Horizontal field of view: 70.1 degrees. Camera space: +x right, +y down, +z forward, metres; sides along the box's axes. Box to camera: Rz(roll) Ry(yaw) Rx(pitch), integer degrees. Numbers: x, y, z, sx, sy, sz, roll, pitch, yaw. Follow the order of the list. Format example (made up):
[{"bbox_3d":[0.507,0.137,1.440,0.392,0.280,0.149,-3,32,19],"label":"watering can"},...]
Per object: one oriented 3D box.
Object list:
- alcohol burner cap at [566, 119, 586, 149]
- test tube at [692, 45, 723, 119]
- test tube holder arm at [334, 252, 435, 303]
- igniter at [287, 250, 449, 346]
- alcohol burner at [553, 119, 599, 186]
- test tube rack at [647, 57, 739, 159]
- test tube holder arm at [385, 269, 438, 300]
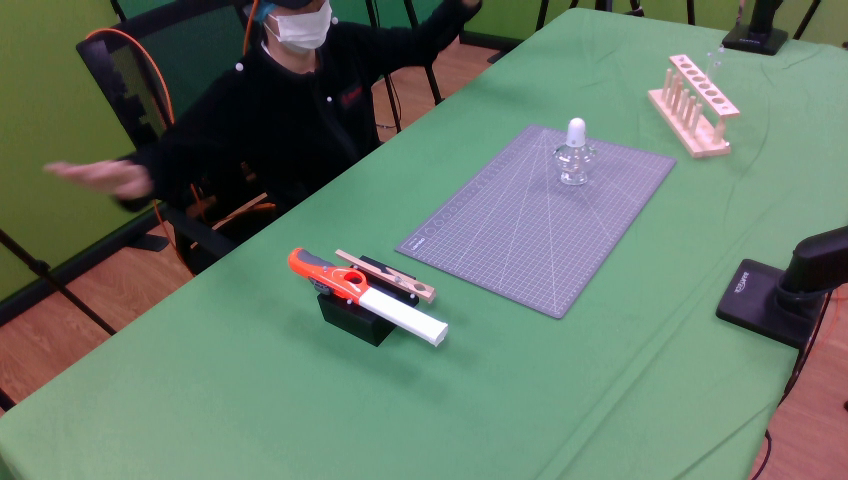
[{"bbox_3d":[0.257,-0.180,1.018,0.034,0.048,0.033,-4,36,4],"label":"alcohol burner cap"},{"bbox_3d":[0.517,-0.285,1.106,0.017,0.151,0.017,-2,46,3],"label":"test tube"},{"bbox_3d":[-0.060,0.051,0.853,0.177,0.015,0.013,19,54,29],"label":"test tube holder arm"},{"bbox_3d":[-0.087,0.073,0.825,0.274,0.025,0.057,23,48,27],"label":"igniter"},{"bbox_3d":[0.261,-0.153,1.042,0.078,0.119,0.077,-6,40,6],"label":"alcohol burner"},{"bbox_3d":[0.504,-0.257,1.153,0.067,0.085,0.241,-8,40,1],"label":"test tube rack"},{"bbox_3d":[-0.020,0.060,0.834,0.087,0.015,0.010,20,54,30],"label":"test tube holder arm"}]
